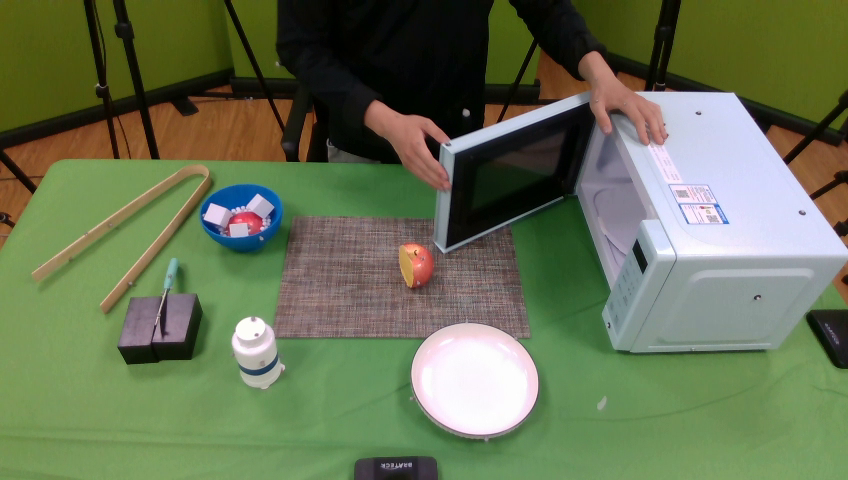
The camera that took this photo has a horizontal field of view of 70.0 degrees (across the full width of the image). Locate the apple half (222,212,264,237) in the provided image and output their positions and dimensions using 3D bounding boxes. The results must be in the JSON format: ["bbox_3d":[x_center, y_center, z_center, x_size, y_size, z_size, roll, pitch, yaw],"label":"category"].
[{"bbox_3d":[-0.346,-0.033,1.162,0.081,0.033,0.081,4,47,-4],"label":"apple half"}]

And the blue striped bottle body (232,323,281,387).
[{"bbox_3d":[-0.262,0.172,0.944,0.063,0.121,0.062,2,46,-2],"label":"blue striped bottle body"}]

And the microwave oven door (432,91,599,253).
[{"bbox_3d":[0.177,-0.133,1.169,0.356,0.245,0.039,-24,52,-25],"label":"microwave oven door"}]

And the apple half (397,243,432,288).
[{"bbox_3d":[-0.013,0.047,1.115,0.053,0.075,0.080,-10,43,-21],"label":"apple half"}]

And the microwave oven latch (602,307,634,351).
[{"bbox_3d":[0.332,0.153,1.044,0.030,0.029,0.078,0,45,-4],"label":"microwave oven latch"}]

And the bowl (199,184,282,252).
[{"bbox_3d":[-0.347,-0.030,1.164,0.151,0.077,0.150,3,46,-3],"label":"bowl"}]

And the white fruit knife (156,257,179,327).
[{"bbox_3d":[-0.440,0.085,1.037,0.016,0.027,0.206,10,26,-19],"label":"white fruit knife"}]

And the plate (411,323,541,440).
[{"bbox_3d":[0.082,0.228,0.976,0.208,0.039,0.206,2,45,-2],"label":"plate"}]

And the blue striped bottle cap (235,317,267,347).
[{"bbox_3d":[-0.259,0.137,0.907,0.044,0.021,0.044,3,43,-2],"label":"blue striped bottle cap"}]

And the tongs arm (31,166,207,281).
[{"bbox_3d":[-0.578,-0.040,1.185,0.050,0.026,0.384,23,48,17],"label":"tongs arm"}]

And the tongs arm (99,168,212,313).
[{"bbox_3d":[-0.504,-0.012,1.167,0.028,0.028,0.385,11,46,10],"label":"tongs arm"}]

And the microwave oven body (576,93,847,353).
[{"bbox_3d":[0.475,-0.041,1.110,0.326,0.261,0.438,-1,45,-4],"label":"microwave oven body"}]
